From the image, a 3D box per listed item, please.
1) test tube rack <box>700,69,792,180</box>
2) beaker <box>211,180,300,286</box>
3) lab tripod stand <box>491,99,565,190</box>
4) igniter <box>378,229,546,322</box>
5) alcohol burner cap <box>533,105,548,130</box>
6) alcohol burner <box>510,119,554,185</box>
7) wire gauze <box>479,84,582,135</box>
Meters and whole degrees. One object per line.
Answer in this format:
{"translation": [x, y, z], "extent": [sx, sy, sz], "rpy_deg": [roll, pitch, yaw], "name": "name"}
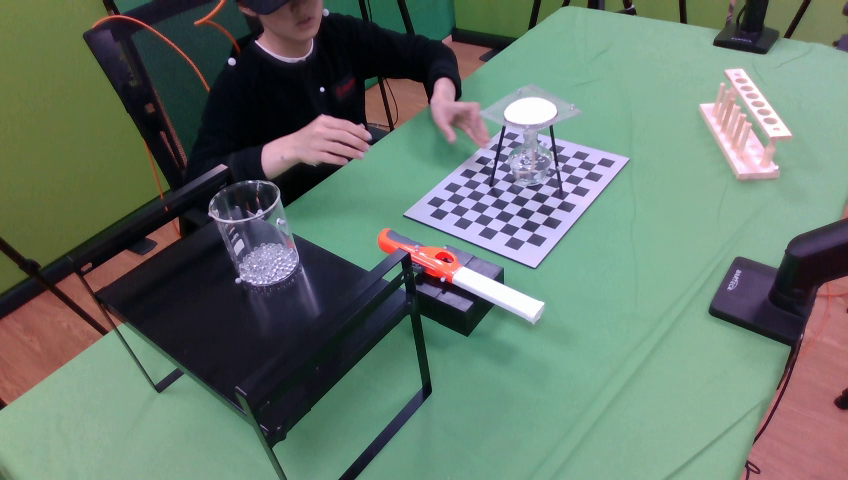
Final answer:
{"translation": [0.571, -0.215, 1.089], "extent": [0.066, 0.085, 0.241], "rpy_deg": [-3, 41, 7], "name": "test tube rack"}
{"translation": [-0.183, -0.007, 0.674], "extent": [0.074, 0.101, 0.083], "rpy_deg": [-1, 40, 7], "name": "beaker"}
{"translation": [0.184, -0.163, 1.046], "extent": [0.148, 0.132, 0.147], "rpy_deg": [-5, 43, 5], "name": "lab tripod stand"}
{"translation": [0.041, 0.043, 0.843], "extent": [0.274, 0.025, 0.057], "rpy_deg": [24, 47, 29], "name": "igniter"}
{"translation": [0.235, -0.251, 1.217], "extent": [0.034, 0.048, 0.033], "rpy_deg": [-5, 41, 5], "name": "alcohol burner cap"}
{"translation": [0.188, -0.157, 1.054], "extent": [0.078, 0.119, 0.077], "rpy_deg": [-4, 39, 4], "name": "alcohol burner"}
{"translation": [0.176, -0.216, 1.006], "extent": [0.125, 0.011, 0.120], "rpy_deg": [-29, 46, -22], "name": "wire gauze"}
